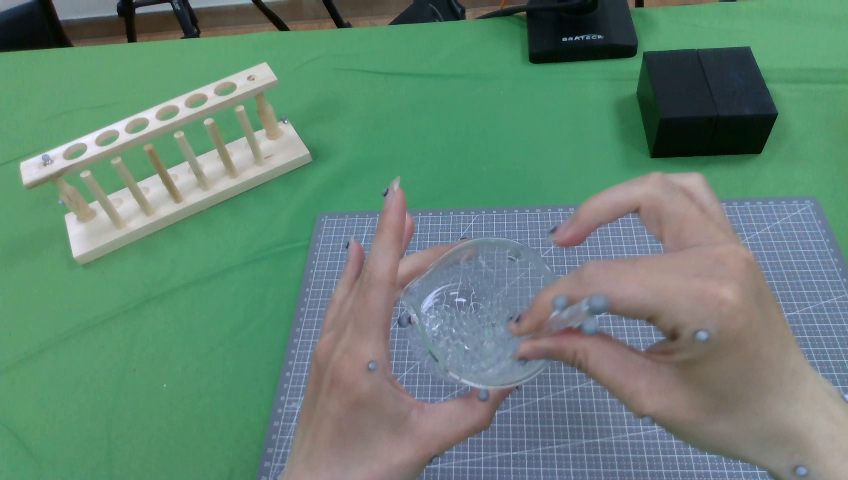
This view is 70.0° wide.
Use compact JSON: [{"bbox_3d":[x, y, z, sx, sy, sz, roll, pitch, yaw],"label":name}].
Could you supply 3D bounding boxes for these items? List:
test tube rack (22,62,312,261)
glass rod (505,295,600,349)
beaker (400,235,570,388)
[{"bbox_3d":[-0.242,-0.079,0.592,0.242,0.086,0.066,-27,53,-13],"label":"test tube rack"},{"bbox_3d":[0.054,0.043,0.285,0.008,0.200,0.008,0,77,0],"label":"glass rod"},{"bbox_3d":[0.025,0.043,0.338,0.084,0.100,0.073,11,77,-3],"label":"beaker"}]
